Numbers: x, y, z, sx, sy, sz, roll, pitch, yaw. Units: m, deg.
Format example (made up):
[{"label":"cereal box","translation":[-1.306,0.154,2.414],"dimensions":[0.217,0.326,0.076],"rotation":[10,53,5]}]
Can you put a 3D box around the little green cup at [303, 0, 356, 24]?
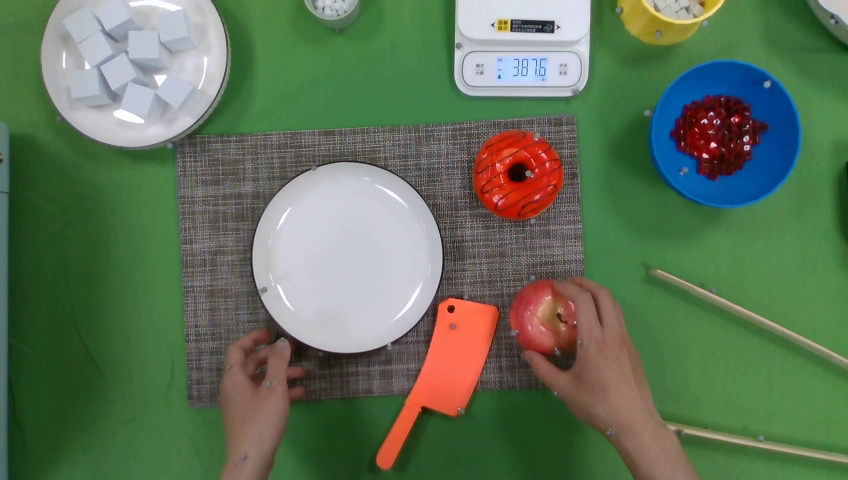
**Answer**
[{"label":"little green cup","translation":[-0.103,-0.271,0.669],"dimensions":[0.061,0.038,0.061],"rotation":[0,88,1]}]

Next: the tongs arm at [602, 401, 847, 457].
[{"label":"tongs arm","translation":[0.389,0.199,0.655],"dimensions":[0.385,0.026,0.050],"rotation":[12,87,1]}]

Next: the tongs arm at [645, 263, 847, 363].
[{"label":"tongs arm","translation":[0.415,0.117,0.657],"dimensions":[0.387,0.028,0.028],"rotation":[27,83,1]}]

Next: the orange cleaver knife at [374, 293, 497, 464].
[{"label":"orange cleaver knife","translation":[0.013,0.155,0.666],"dimensions":[0.077,0.012,0.211],"rotation":[26,87,-6]}]

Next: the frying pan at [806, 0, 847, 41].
[{"label":"frying pan","translation":[0.579,-0.239,0.627],"dimensions":[0.307,0.103,0.486],"rotation":[-30,81,1]}]

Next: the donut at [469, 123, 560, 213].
[{"label":"donut","translation":[0.097,-0.078,0.657],"dimensions":[0.099,0.048,0.099],"rotation":[0,90,3]}]

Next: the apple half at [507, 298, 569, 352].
[{"label":"apple half","translation":[0.111,0.096,0.636],"dimensions":[0.081,0.081,0.033],"rotation":[40,83,2]}]

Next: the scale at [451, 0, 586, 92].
[{"label":"scale","translation":[0.105,-0.267,0.669],"dimensions":[0.148,0.031,0.200],"rotation":[1,90,1]}]

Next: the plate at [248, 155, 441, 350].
[{"label":"plate","translation":[-0.084,0.013,0.661],"dimensions":[0.209,0.038,0.209],"rotation":[0,89,1]}]

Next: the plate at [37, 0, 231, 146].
[{"label":"plate","translation":[-0.315,-0.205,0.671],"dimensions":[0.208,0.039,0.207],"rotation":[0,89,1]}]

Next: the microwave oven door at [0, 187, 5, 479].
[{"label":"microwave oven door","translation":[-0.479,0.116,0.547],"dimensions":[0.039,0.244,0.355],"rotation":[-1,89,1]}]

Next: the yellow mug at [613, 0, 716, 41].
[{"label":"yellow mug","translation":[0.252,-0.287,0.651],"dimensions":[0.100,0.064,0.130],"rotation":[-36,88,1]}]

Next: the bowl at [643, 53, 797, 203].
[{"label":"bowl","translation":[0.298,-0.111,0.642],"dimensions":[0.151,0.077,0.151],"rotation":[0,90,1]}]

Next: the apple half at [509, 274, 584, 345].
[{"label":"apple half","translation":[0.135,0.066,0.639],"dimensions":[0.080,0.075,0.053],"rotation":[39,83,4]}]
